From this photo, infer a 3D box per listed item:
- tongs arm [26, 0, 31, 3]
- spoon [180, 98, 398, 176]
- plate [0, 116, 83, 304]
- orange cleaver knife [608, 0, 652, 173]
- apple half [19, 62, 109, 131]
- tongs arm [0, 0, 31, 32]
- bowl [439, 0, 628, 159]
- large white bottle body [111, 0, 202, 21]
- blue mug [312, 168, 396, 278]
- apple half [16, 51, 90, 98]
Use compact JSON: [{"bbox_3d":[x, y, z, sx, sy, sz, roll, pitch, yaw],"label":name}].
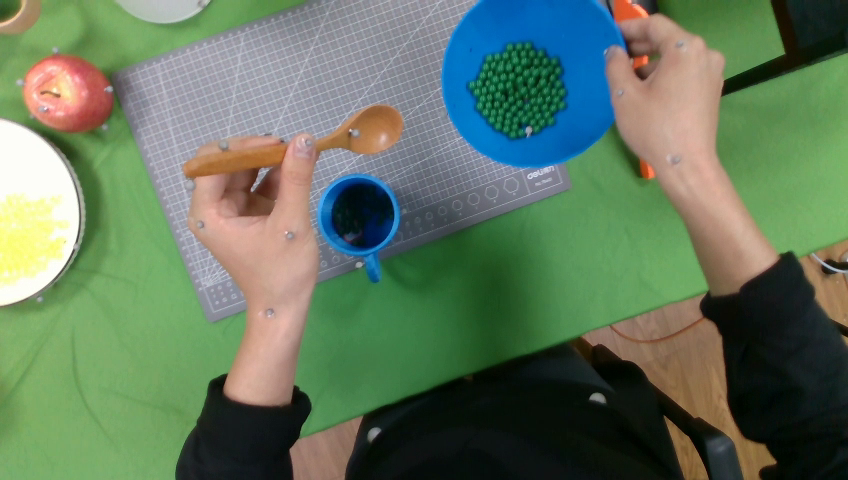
[{"bbox_3d":[-0.581,-0.329,0.608,0.388,0.028,0.028,22,86,-2],"label":"tongs arm"},{"bbox_3d":[-0.080,-0.069,0.414,0.021,0.194,0.042,30,121,21],"label":"spoon"},{"bbox_3d":[-0.477,-0.033,0.664,0.209,0.038,0.209,0,94,-3],"label":"plate"},{"bbox_3d":[0.225,-0.173,0.667,0.012,0.076,0.213,-22,125,-2],"label":"orange cleaver knife"},{"bbox_3d":[-0.373,-0.145,0.645,0.081,0.074,0.053,-35,99,-4],"label":"apple half"},{"bbox_3d":[-0.599,-0.247,0.611,0.385,0.026,0.050,8,90,-1],"label":"tongs arm"},{"bbox_3d":[0.092,-0.144,0.520,0.151,0.077,0.151,1,96,10],"label":"bowl"},{"bbox_3d":[-0.291,-0.303,0.582,0.131,0.184,0.130,0,93,-2],"label":"large white bottle body"},{"bbox_3d":[-0.068,-0.016,0.651,0.082,0.105,0.116,-13,94,-2],"label":"blue mug"},{"bbox_3d":[-0.395,-0.177,0.640,0.081,0.081,0.033,-35,99,0],"label":"apple half"}]
